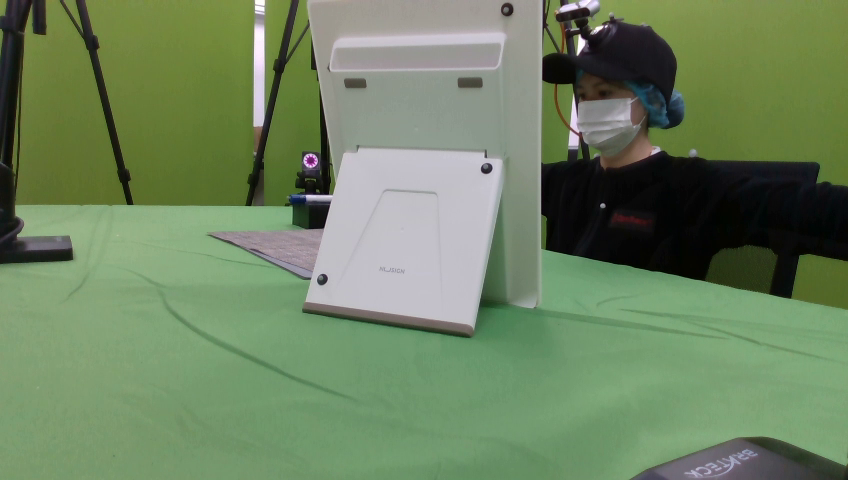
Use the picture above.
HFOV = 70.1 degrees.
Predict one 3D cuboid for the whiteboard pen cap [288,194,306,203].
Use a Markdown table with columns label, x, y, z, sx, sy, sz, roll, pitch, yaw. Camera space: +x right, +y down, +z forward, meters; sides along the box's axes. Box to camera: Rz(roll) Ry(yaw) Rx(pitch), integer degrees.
| label | x | y | z | sx | sy | sz | roll | pitch | yaw |
| --- | --- | --- | --- | --- | --- | --- | --- | --- | --- |
| whiteboard pen cap | -0.253 | -0.083 | 1.204 | 0.033 | 0.018 | 0.018 | -4 | 10 | -34 |

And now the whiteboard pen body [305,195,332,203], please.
| label | x | y | z | sx | sy | sz | roll | pitch | yaw |
| --- | --- | --- | --- | --- | --- | --- | --- | --- | --- |
| whiteboard pen body | -0.201 | -0.085 | 1.237 | 0.141 | 0.017 | 0.017 | -2 | 9 | -33 |

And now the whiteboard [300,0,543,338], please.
| label | x | y | z | sx | sy | sz | roll | pitch | yaw |
| --- | --- | --- | --- | --- | --- | --- | --- | --- | --- |
| whiteboard | -0.020 | -0.050 | 0.523 | 0.216 | 0.305 | 0.144 | 6 | 27 | 22 |
